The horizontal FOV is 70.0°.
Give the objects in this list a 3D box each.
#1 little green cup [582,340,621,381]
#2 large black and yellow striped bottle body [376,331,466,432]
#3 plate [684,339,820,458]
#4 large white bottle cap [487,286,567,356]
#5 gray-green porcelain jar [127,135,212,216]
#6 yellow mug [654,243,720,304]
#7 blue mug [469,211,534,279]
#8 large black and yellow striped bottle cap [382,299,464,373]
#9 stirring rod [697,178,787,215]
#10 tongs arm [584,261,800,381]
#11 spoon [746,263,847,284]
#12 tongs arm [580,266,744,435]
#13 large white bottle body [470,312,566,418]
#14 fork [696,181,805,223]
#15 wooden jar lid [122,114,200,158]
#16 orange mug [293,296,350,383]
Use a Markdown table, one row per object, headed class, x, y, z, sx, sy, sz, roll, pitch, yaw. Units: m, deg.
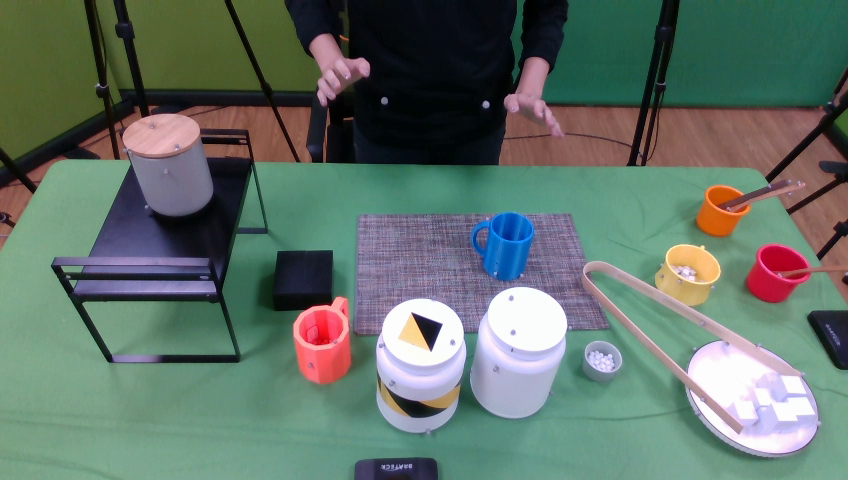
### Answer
| class | x | y | z | sx | sy | sz | roll | pitch | yaw |
| --- | --- | --- | --- | --- | --- | --- | --- | --- | --- |
| little green cup | 0.295 | 0.204 | 1.015 | 0.061 | 0.039 | 0.061 | 2 | 45 | -2 |
| large black and yellow striped bottle body | -0.007 | 0.189 | 0.905 | 0.131 | 0.185 | 0.130 | 2 | 46 | -2 |
| plate | 0.523 | 0.256 | 0.982 | 0.208 | 0.039 | 0.206 | 2 | 46 | -2 |
| large white bottle cap | 0.147 | 0.114 | 0.869 | 0.115 | 0.018 | 0.114 | 3 | 46 | -3 |
| gray-green porcelain jar | -0.394 | -0.109 | 0.949 | 0.106 | 0.127 | 0.105 | 3 | 46 | -3 |
| yellow mug | 0.504 | 0.054 | 1.154 | 0.099 | 0.064 | 0.130 | 28 | 50 | 22 |
| blue mug | 0.141 | 0.005 | 1.140 | 0.116 | 0.106 | 0.082 | 18 | 48 | 13 |
| large black and yellow striped bottle cap | -0.002 | 0.132 | 0.843 | 0.115 | 0.019 | 0.114 | 2 | 46 | -1 |
| stirring rod | 0.650 | -0.088 | 1.246 | 0.006 | 0.176 | 0.014 | 29 | 49 | -38 |
| tongs arm | 0.452 | 0.137 | 1.064 | 0.051 | 0.027 | 0.382 | -34 | 50 | -27 |
| spoon | 0.696 | 0.057 | 1.113 | 0.193 | 0.022 | 0.041 | -16 | 27 | 48 |
| tongs arm | 0.384 | 0.173 | 1.028 | 0.028 | 0.028 | 0.385 | -25 | 46 | -15 |
| large white bottle body | 0.143 | 0.173 | 0.930 | 0.131 | 0.185 | 0.130 | 2 | 46 | -2 |
| fork | 0.659 | -0.077 | 1.232 | 0.207 | 0.019 | 0.028 | -26 | 35 | 34 |
| wooden jar lid | -0.390 | -0.152 | 0.904 | 0.108 | 0.021 | 0.107 | 3 | 45 | -3 |
| orange mug | -0.157 | 0.154 | 0.985 | 0.083 | 0.101 | 0.125 | 17 | 52 | 11 |
